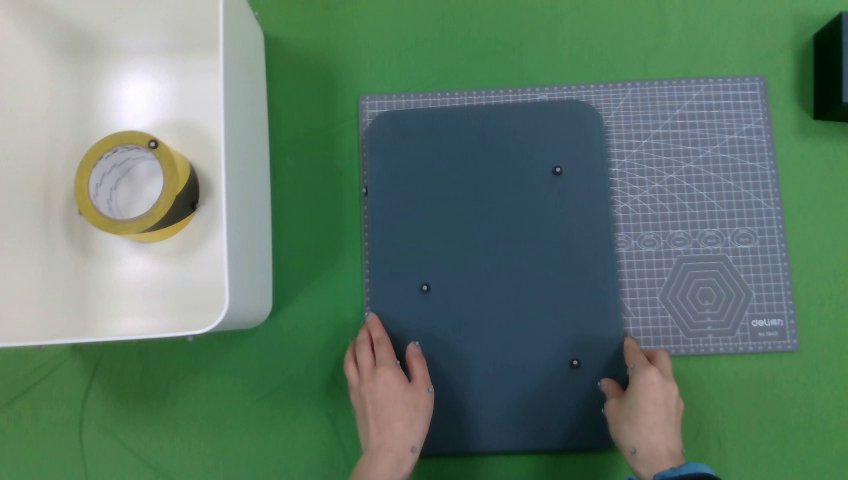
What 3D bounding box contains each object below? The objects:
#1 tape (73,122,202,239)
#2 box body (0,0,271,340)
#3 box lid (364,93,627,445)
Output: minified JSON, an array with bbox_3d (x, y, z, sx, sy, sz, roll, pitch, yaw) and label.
[{"bbox_3d":[-0.300,-0.061,0.640,0.117,0.053,0.116,-1,80,4],"label":"tape"},{"bbox_3d":[-0.293,-0.088,0.595,0.254,0.161,0.363,-4,82,1],"label":"box body"},{"bbox_3d":[0.071,0.023,0.643,0.263,0.015,0.370,-3,83,1],"label":"box lid"}]
